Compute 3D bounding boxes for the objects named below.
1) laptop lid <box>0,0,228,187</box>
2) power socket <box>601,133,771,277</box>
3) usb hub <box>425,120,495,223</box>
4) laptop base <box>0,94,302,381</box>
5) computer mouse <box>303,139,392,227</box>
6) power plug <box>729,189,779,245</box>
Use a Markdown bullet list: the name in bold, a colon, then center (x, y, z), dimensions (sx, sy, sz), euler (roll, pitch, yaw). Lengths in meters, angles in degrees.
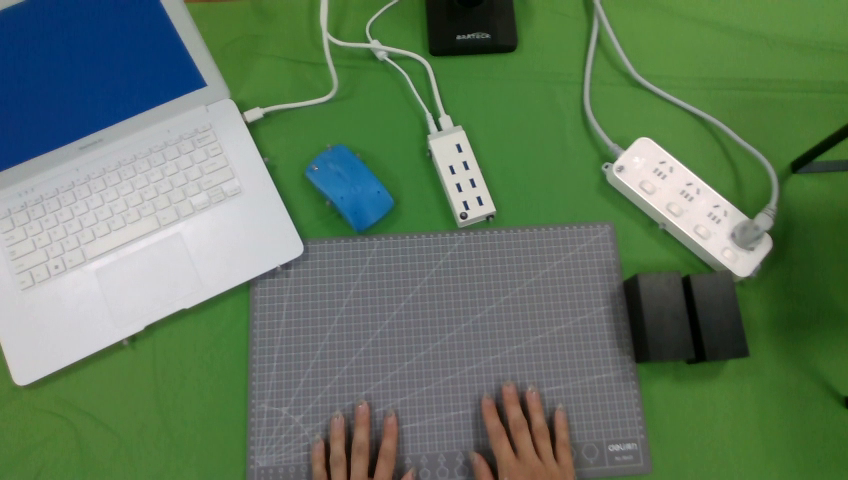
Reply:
- **laptop lid**: center (-0.417, -0.173, 0.655), dimensions (0.357, 0.244, 0.013), euler (-27, 61, -7)
- **power socket**: center (0.326, -0.045, 0.753), dimensions (0.226, 0.033, 0.072), euler (42, 77, 10)
- **usb hub**: center (0.043, -0.086, 0.760), dimensions (0.049, 0.025, 0.124), euler (-19, 76, -6)
- **laptop base**: center (-0.352, -0.014, 0.732), dimensions (0.354, 0.023, 0.234), euler (-26, 80, -8)
- **computer mouse**: center (-0.096, -0.073, 0.746), dimensions (0.063, 0.041, 0.116), euler (-39, 75, -10)
- **power plug**: center (0.401, -0.022, 0.730), dimensions (0.072, 0.053, 0.035), euler (-34, 77, -13)
